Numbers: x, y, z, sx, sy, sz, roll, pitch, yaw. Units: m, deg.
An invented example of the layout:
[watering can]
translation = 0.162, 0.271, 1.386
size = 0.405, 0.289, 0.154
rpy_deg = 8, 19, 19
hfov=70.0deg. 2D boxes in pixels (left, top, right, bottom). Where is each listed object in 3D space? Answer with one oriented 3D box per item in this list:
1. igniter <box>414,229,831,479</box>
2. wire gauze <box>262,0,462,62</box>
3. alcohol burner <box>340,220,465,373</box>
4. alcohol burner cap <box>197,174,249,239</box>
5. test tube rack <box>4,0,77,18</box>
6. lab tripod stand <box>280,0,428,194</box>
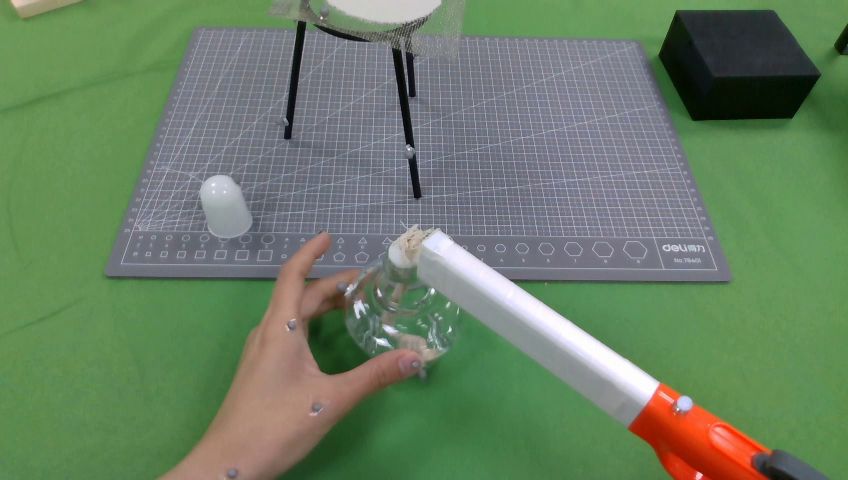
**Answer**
[igniter]
translation = 0.106, 0.081, 0.272
size = 0.274, 0.057, 0.025
rpy_deg = 35, 55, 19
[wire gauze]
translation = -0.033, -0.171, 0.413
size = 0.125, 0.011, 0.120
rpy_deg = 11, 53, 2
[alcohol burner]
translation = -0.013, 0.031, 0.362
size = 0.078, 0.120, 0.077
rpy_deg = 1, 53, 0
[alcohol burner cap]
translation = -0.147, -0.027, 0.438
size = 0.034, 0.048, 0.033
rpy_deg = 3, 52, -3
[test tube rack]
translation = -0.324, -0.321, 0.626
size = 0.242, 0.086, 0.066
rpy_deg = -31, 61, -24
[lab tripod stand]
translation = -0.042, -0.125, 0.462
size = 0.148, 0.132, 0.147
rpy_deg = 3, 53, -4
